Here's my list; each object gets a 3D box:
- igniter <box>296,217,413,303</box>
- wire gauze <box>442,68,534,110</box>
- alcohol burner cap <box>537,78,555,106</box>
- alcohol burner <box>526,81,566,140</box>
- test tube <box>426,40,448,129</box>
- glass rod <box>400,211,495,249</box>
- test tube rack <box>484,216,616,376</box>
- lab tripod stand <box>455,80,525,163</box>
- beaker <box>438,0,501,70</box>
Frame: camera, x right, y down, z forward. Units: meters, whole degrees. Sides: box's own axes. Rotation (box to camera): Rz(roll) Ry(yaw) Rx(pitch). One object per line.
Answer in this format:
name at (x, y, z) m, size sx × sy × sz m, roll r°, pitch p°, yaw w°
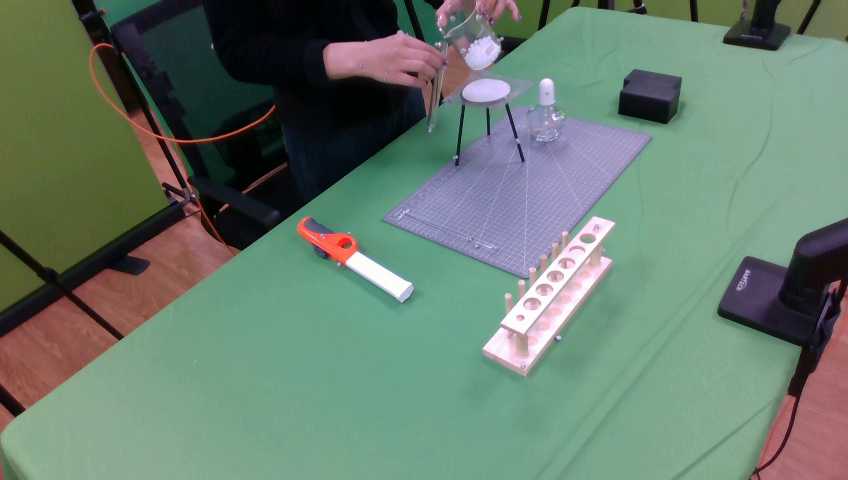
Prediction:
igniter at (-0.121, 0.025, 0.970) m, size 0.274 × 0.025 × 0.057 m, roll 29°, pitch 63°, yaw 37°
wire gauze at (0.114, -0.269, 1.081) m, size 0.120 × 0.011 × 0.125 m, roll 21°, pitch 48°, yaw 29°
alcohol burner cap at (0.229, -0.279, 1.136) m, size 0.034 × 0.048 × 0.033 m, roll -6°, pitch 34°, yaw 4°
alcohol burner at (0.235, -0.252, 1.159) m, size 0.078 × 0.119 × 0.077 m, roll -4°, pitch 42°, yaw 4°
test tube at (0.021, -0.259, 1.018) m, size 0.017 × 0.150 × 0.017 m, roll 7°, pitch 32°, yaw -4°
glass rod at (0.034, -0.018, 1.001) m, size 0.198 × 0.008 × 0.008 m, roll 21°, pitch 49°, yaw 35°
test tube rack at (0.174, 0.064, 0.823) m, size 0.066 × 0.085 × 0.243 m, roll 23°, pitch 49°, yaw 33°
lab tripod stand at (0.120, -0.220, 1.126) m, size 0.148 × 0.132 × 0.147 m, roll -4°, pitch 39°, yaw 4°
beaker at (0.078, -0.342, 1.016) m, size 0.073 × 0.101 × 0.084 m, roll 20°, pitch 74°, yaw 44°
